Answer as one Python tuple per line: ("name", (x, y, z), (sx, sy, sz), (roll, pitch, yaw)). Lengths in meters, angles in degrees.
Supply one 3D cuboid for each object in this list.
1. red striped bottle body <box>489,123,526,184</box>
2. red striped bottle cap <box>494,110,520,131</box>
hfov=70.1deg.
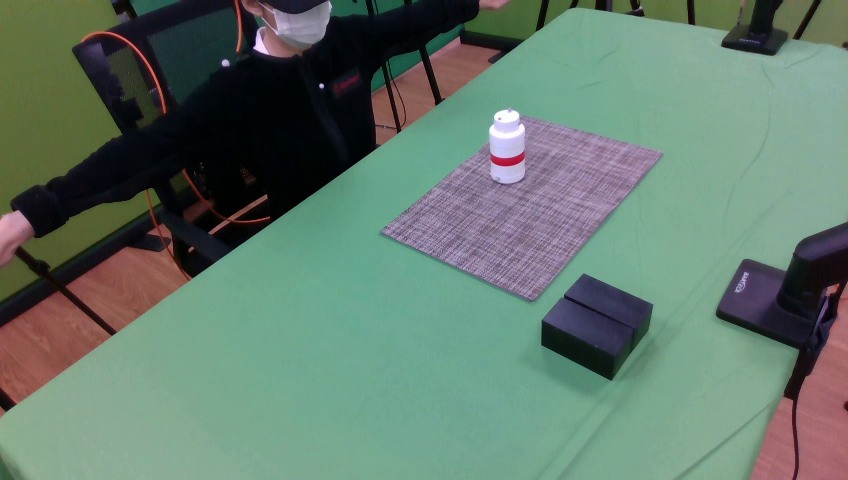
("red striped bottle body", (0.147, -0.164, 1.064), (0.063, 0.120, 0.062), (-5, 39, 4))
("red striped bottle cap", (0.142, -0.204, 1.030), (0.044, 0.018, 0.044), (-6, 38, 5))
